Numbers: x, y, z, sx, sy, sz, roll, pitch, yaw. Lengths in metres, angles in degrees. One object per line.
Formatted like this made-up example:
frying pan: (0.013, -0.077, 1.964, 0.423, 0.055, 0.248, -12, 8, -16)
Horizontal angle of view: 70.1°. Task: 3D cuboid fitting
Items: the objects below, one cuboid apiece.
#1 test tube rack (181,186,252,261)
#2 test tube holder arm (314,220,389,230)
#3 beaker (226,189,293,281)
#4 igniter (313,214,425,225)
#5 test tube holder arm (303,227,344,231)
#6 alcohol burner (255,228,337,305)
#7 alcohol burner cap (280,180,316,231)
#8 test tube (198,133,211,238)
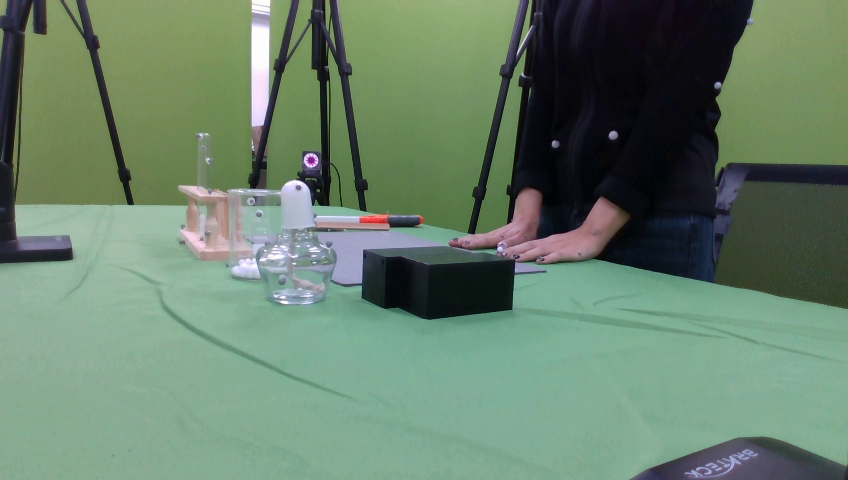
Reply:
test tube rack: (-0.312, -0.031, 0.893, 0.067, 0.085, 0.241, -1, 8, -27)
test tube holder arm: (-0.153, -0.028, 1.175, 0.179, 0.015, 0.013, 1, -26, -21)
beaker: (-0.184, -0.007, 0.694, 0.084, 0.100, 0.073, -1, 8, -28)
igniter: (-0.129, -0.043, 1.273, 0.278, 0.025, 0.057, -1, -2, -26)
test tube holder arm: (-0.197, -0.026, 1.163, 0.088, 0.015, 0.010, 0, -26, -20)
alcohol burner: (-0.124, 0.002, 0.585, 0.078, 0.119, 0.078, 0, 7, 0)
alcohol burner cap: (-0.122, -0.034, 0.581, 0.034, 0.048, 0.034, -3, 10, 1)
test tube: (-0.316, -0.078, 0.871, 0.017, 0.150, 0.017, 2, 3, 0)
